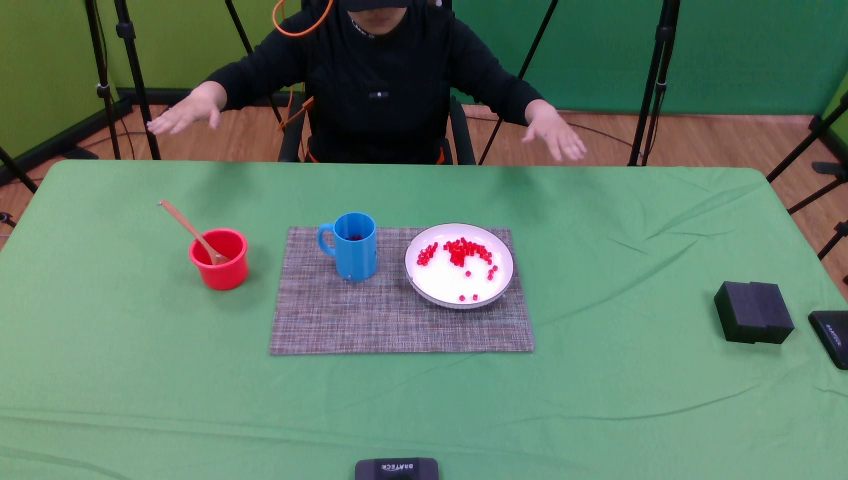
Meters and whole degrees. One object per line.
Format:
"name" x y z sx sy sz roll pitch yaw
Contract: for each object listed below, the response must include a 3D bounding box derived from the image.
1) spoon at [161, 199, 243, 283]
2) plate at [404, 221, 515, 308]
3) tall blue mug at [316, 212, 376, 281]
"spoon" -0.397 0.001 1.083 0.194 0.021 0.041 53 56 -15
"plate" 0.065 0.049 1.140 0.208 0.039 0.206 2 46 -2
"tall blue mug" -0.142 0.014 1.109 0.107 0.108 0.077 -5 47 -8
